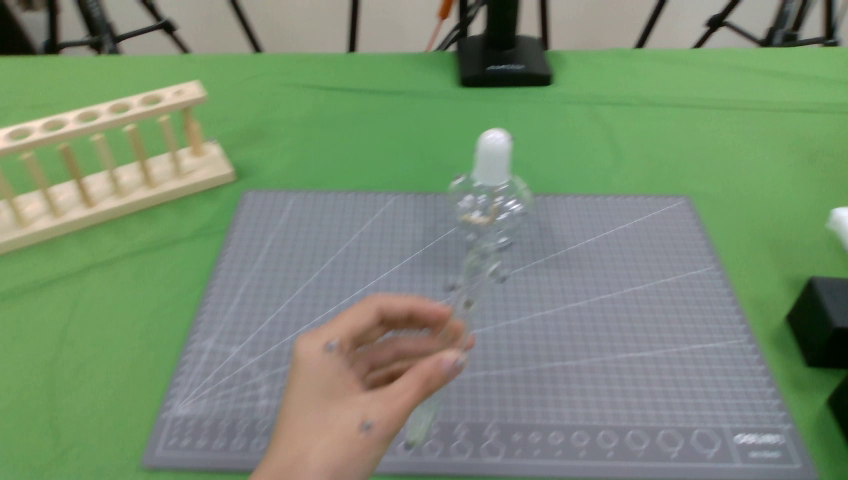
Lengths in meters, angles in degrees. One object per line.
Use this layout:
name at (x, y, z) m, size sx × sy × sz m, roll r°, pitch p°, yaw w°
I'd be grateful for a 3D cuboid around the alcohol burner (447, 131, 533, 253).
alcohol burner at (0.059, -0.046, 0.533) m, size 0.078 × 0.120 × 0.077 m, roll 1°, pitch 44°, yaw -1°

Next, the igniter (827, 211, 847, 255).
igniter at (0.341, 0.071, 0.408) m, size 0.057 × 0.025 × 0.274 m, roll 2°, pitch 41°, yaw 6°

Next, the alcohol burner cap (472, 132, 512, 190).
alcohol burner cap at (0.059, -0.069, 0.512) m, size 0.034 × 0.048 × 0.033 m, roll 2°, pitch 42°, yaw -2°

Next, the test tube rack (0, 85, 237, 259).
test tube rack at (-0.315, -0.067, 0.578) m, size 0.243 × 0.086 × 0.066 m, roll -21°, pitch 47°, yaw -21°

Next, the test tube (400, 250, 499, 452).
test tube at (0.010, 0.067, 0.329) m, size 0.017 × 0.151 × 0.017 m, roll 12°, pitch 35°, yaw -8°
